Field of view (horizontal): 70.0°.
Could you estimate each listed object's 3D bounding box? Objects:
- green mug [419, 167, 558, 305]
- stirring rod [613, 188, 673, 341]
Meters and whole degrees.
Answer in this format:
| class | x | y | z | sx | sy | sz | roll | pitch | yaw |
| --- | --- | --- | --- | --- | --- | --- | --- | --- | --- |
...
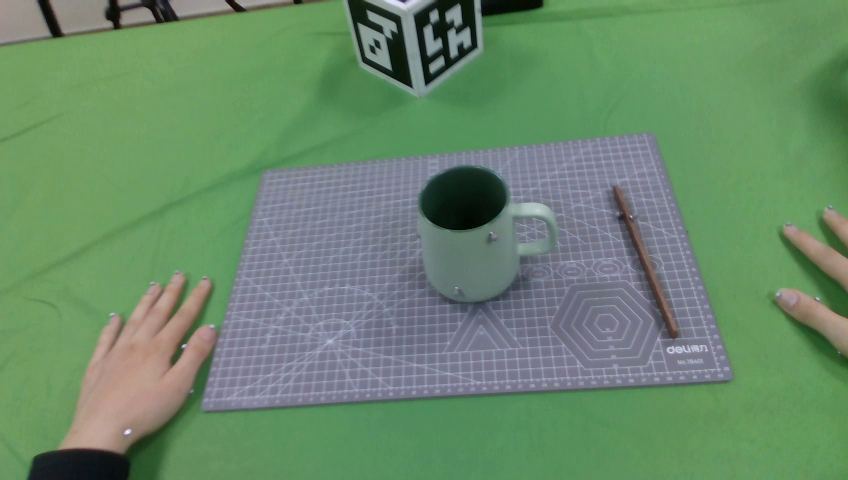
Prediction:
| class | x | y | z | sx | sy | sz | roll | pitch | yaw |
| --- | --- | --- | --- | --- | --- | --- | --- | --- | --- |
| green mug | 0.058 | -0.003 | 0.549 | 0.125 | 0.106 | 0.091 | -3 | 51 | 7 |
| stirring rod | 0.202 | 0.017 | 0.566 | 0.006 | 0.014 | 0.174 | -4 | 50 | -1 |
